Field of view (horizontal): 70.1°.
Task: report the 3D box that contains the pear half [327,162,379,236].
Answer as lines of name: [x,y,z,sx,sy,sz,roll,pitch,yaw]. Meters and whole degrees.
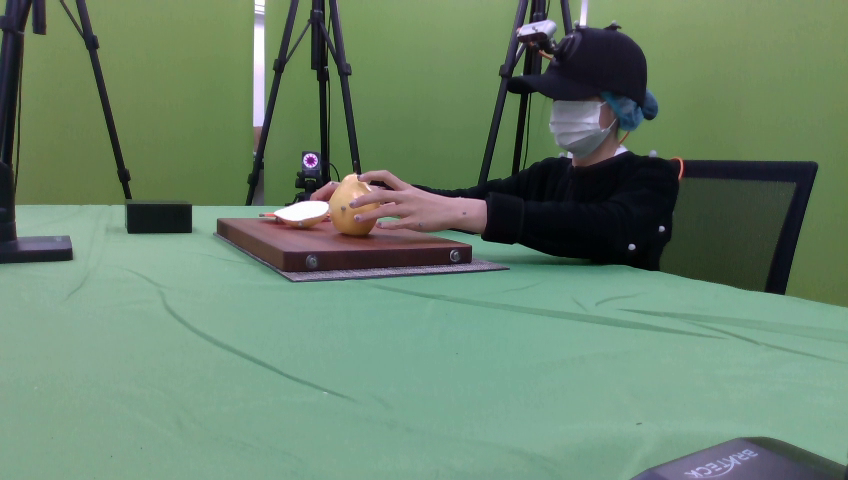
pear half: [-0.099,-0.060,0.889,0.077,0.110,0.055,-8,12,-35]

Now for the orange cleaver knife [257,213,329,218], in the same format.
orange cleaver knife: [-0.209,-0.044,1.088,0.077,0.012,0.212,4,4,31]

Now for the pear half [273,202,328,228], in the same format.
pear half: [-0.195,-0.036,0.961,0.088,0.031,0.070,-7,21,9]
